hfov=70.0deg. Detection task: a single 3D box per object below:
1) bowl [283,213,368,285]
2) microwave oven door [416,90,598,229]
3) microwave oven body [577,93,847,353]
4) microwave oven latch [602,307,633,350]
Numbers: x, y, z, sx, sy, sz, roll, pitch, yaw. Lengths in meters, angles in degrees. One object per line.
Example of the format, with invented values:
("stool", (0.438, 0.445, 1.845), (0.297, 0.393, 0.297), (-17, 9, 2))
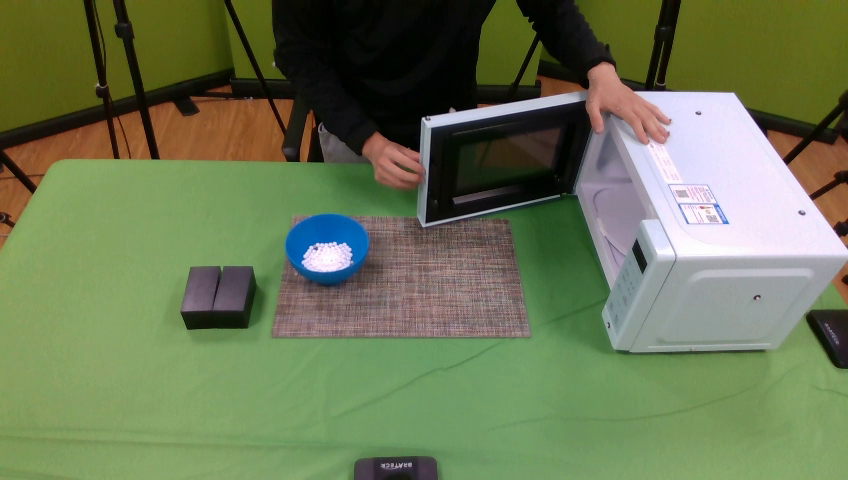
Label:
("bowl", (-0.178, 0.030, 1.114), (0.151, 0.077, 0.150), (3, 45, -2))
("microwave oven door", (0.160, -0.157, 1.191), (0.356, 0.245, 0.039), (-14, 48, -17))
("microwave oven body", (0.475, -0.041, 1.109), (0.326, 0.261, 0.438), (-1, 45, -4))
("microwave oven latch", (0.331, 0.153, 1.044), (0.030, 0.029, 0.078), (-1, 45, -4))
